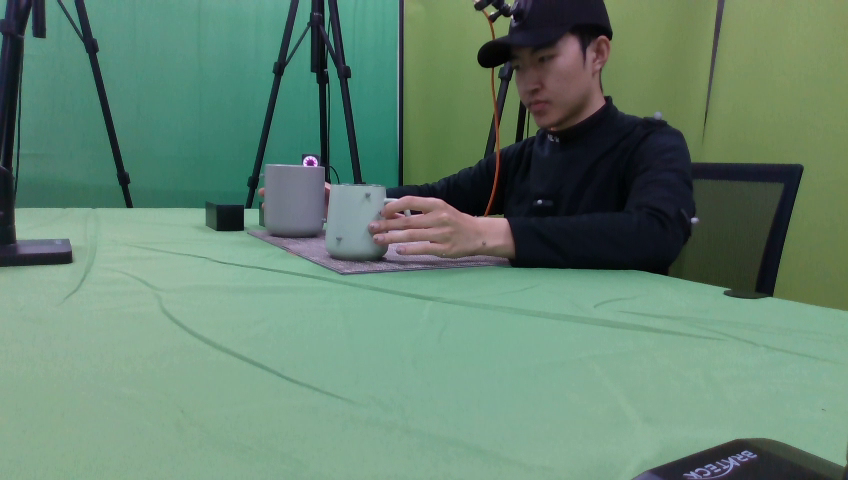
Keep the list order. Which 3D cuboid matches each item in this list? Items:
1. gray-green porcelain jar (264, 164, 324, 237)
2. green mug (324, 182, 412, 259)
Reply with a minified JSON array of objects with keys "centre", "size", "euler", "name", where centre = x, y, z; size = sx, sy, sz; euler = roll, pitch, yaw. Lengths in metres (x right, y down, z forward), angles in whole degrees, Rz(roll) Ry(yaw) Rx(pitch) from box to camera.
[{"centre":[-0.233,-0.073,1.087],"size":[0.106,0.126,0.106],"euler":[2,7,0],"name":"gray-green porcelain jar"},{"centre":[-0.079,-0.028,0.864],"size":[0.125,0.105,0.092],"euler":[3,7,9],"name":"green mug"}]
